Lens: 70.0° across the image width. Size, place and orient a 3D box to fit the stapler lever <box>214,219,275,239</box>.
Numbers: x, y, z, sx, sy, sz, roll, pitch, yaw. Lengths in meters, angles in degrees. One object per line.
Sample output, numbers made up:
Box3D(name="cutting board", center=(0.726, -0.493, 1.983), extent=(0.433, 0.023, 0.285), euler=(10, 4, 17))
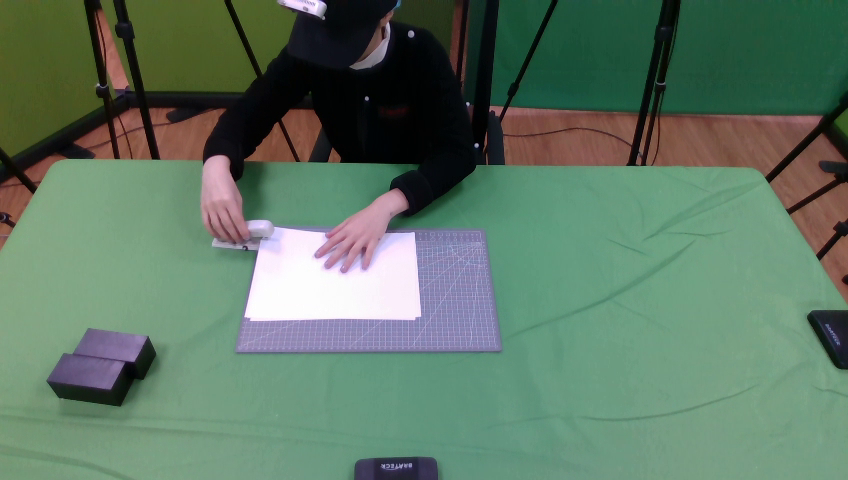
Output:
Box3D(name="stapler lever", center=(-0.342, -0.022, 1.154), extent=(0.118, 0.040, 0.026), euler=(4, 43, 4))

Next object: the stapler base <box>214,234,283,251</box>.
Box3D(name="stapler base", center=(-0.341, -0.005, 1.171), extent=(0.130, 0.024, 0.041), euler=(3, 43, 4))
